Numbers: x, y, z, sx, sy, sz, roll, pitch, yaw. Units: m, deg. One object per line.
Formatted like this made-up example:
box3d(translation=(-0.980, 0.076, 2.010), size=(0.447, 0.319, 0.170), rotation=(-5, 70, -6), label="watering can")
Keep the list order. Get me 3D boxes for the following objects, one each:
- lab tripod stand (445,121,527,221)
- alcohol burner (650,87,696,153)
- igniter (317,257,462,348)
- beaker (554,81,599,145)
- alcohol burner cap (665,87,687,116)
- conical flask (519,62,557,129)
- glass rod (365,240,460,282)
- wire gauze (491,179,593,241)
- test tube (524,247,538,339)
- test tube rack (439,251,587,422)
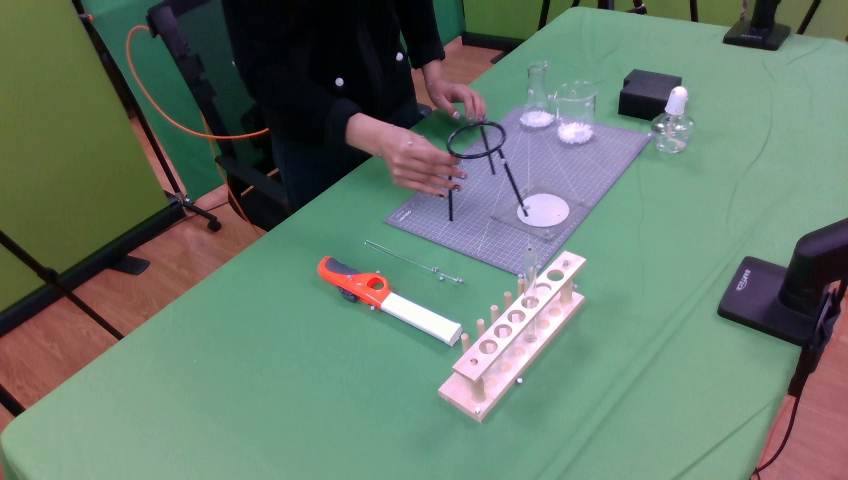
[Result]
box3d(translation=(0.090, -0.107, 0.934), size=(0.148, 0.132, 0.147), rotation=(-11, 42, 11), label="lab tripod stand")
box3d(translation=(0.448, -0.217, 1.084), size=(0.078, 0.119, 0.077), rotation=(-6, 38, 5), label="alcohol burner")
box3d(translation=(-0.061, 0.086, 0.891), size=(0.274, 0.025, 0.057), rotation=(24, 59, 33), label="igniter")
box3d(translation=(0.286, -0.237, 1.144), size=(0.084, 0.101, 0.073), rotation=(-17, 40, -7), label="beaker")
box3d(translation=(0.445, -0.244, 1.060), size=(0.034, 0.048, 0.033), rotation=(-2, 45, 3), label="alcohol burner cap")
box3d(translation=(0.225, -0.288, 1.198), size=(0.075, 0.122, 0.075), rotation=(-6, 40, 5), label="conical flask")
box3d(translation=(-0.022, 0.032, 0.961), size=(0.198, 0.008, 0.008), rotation=(21, 49, 35), label="glass rod")
box3d(translation=(0.198, -0.051, 1.014), size=(0.125, 0.011, 0.120), rotation=(-38, 48, -27), label="wire gauze")
box3d(translation=(0.133, 0.070, 0.749), size=(0.017, 0.151, 0.017), rotation=(-5, 38, 4), label="test tube")
box3d(translation=(0.118, 0.111, 0.780), size=(0.066, 0.085, 0.243), rotation=(26, 51, 35), label="test tube rack")
